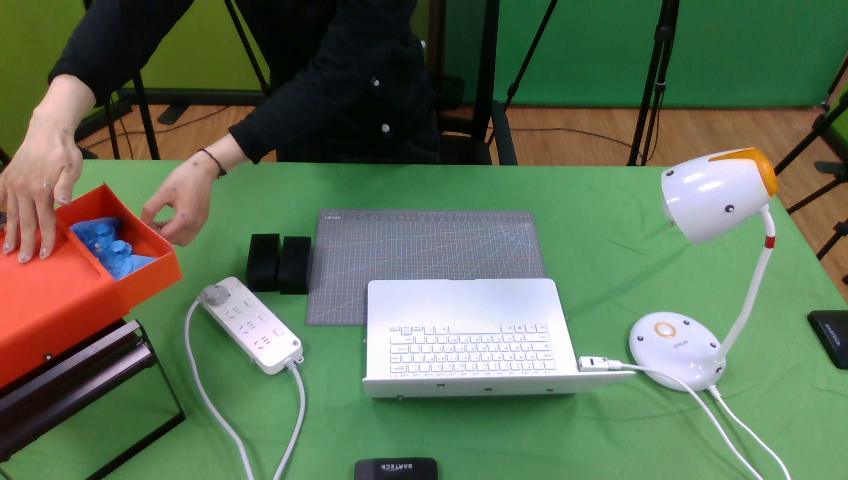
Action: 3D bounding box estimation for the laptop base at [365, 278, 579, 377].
[{"bbox_3d":[0.076,0.161,1.053,0.355,0.023,0.234,0,44,-4],"label":"laptop base"}]

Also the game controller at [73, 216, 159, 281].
[{"bbox_3d":[-0.452,0.017,0.872,0.154,0.052,0.097,36,60,28],"label":"game controller"}]

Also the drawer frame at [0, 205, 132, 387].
[{"bbox_3d":[-0.538,0.075,0.796,0.200,0.083,0.213,36,54,26],"label":"drawer frame"}]

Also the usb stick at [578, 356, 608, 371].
[{"bbox_3d":[0.273,0.207,1.007,0.059,0.027,0.021,0,51,0],"label":"usb stick"}]

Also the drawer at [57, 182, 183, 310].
[{"bbox_3d":[-0.483,0.034,0.842,0.193,0.073,0.211,36,55,26],"label":"drawer"}]

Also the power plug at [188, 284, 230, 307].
[{"bbox_3d":[-0.369,0.100,1.036,0.072,0.053,0.035,-26,53,-23],"label":"power plug"}]

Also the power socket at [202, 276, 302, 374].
[{"bbox_3d":[-0.297,0.141,1.034,0.072,0.033,0.225,-34,58,-31],"label":"power socket"}]

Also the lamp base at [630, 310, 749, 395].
[{"bbox_3d":[0.447,0.142,0.984,0.161,0.181,0.178,-24,55,-24],"label":"lamp base"}]

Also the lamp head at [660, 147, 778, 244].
[{"bbox_3d":[0.389,-0.063,0.784,0.123,0.113,0.112,-22,33,37],"label":"lamp head"}]

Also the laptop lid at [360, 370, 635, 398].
[{"bbox_3d":[0.090,0.208,0.863,0.357,0.242,0.013,0,71,-6],"label":"laptop lid"}]

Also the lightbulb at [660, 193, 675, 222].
[{"bbox_3d":[0.366,-0.060,0.806,0.060,0.107,0.059,17,61,-32],"label":"lightbulb"}]
